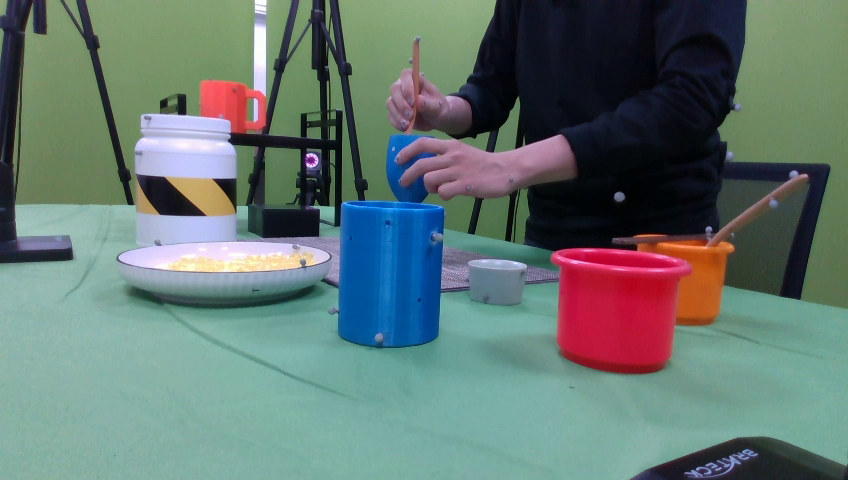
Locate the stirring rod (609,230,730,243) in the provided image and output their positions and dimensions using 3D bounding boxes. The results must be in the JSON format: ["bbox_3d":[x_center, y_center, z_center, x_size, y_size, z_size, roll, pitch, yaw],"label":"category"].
[{"bbox_3d":[0.241,-0.004,0.582,0.177,0.006,0.014,-3,9,-33],"label":"stirring rod"}]

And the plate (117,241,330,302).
[{"bbox_3d":[-0.203,0.031,0.630,0.209,0.038,0.209,3,7,0],"label":"plate"}]

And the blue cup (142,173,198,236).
[{"bbox_3d":[-0.425,-0.060,1.014,0.093,0.100,0.092,4,9,0],"label":"blue cup"}]

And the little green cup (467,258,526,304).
[{"bbox_3d":[0.074,0.042,0.625,0.061,0.038,0.061,3,8,0],"label":"little green cup"}]

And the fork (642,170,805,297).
[{"bbox_3d":[0.261,0.004,0.545,0.028,0.018,0.207,5,-38,-15],"label":"fork"}]

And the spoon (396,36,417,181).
[{"bbox_3d":[-0.020,-0.178,0.826,0.022,0.193,0.041,8,6,-3],"label":"spoon"}]

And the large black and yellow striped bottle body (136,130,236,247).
[{"bbox_3d":[-0.332,-0.076,0.851,0.131,0.184,0.130,3,8,0],"label":"large black and yellow striped bottle body"}]

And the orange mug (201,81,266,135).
[{"bbox_3d":[-0.377,-0.260,1.198,0.126,0.101,0.083,-3,8,-6],"label":"orange mug"}]

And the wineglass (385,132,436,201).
[{"bbox_3d":[-0.020,-0.061,0.842,0.074,0.172,0.073,2,7,0],"label":"wineglass"}]

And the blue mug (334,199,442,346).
[{"bbox_3d":[-0.034,0.020,0.498,0.083,0.106,0.116,0,7,-20],"label":"blue mug"}]

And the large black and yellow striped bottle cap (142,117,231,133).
[{"bbox_3d":[-0.328,-0.159,0.839,0.115,0.019,0.115,1,9,0],"label":"large black and yellow striped bottle cap"}]
